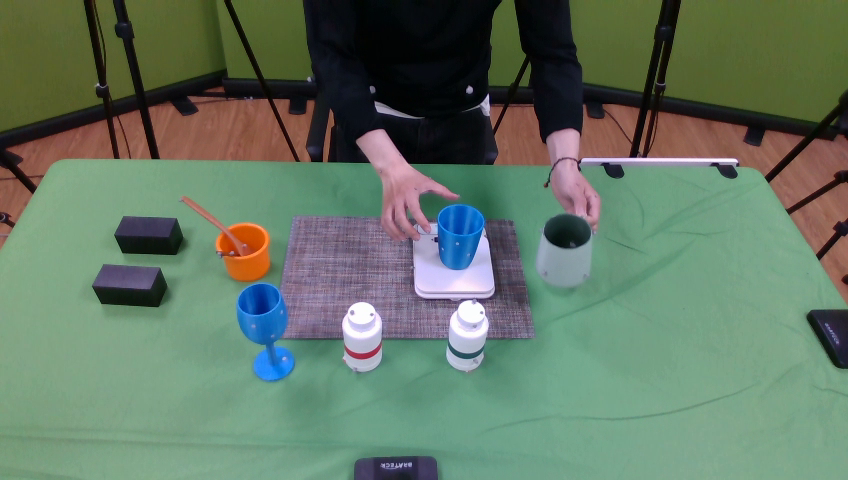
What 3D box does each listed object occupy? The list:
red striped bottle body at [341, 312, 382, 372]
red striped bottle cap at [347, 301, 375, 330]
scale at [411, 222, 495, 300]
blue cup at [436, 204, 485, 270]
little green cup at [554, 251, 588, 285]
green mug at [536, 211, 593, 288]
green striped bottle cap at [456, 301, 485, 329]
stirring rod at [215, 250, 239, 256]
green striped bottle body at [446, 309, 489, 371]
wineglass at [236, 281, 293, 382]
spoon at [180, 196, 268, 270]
[{"bbox_3d":[-0.100,0.154,0.972,0.063,0.120,0.062,2,46,-1],"label":"red striped bottle body"},{"bbox_3d":[-0.097,0.116,0.934,0.044,0.018,0.044,2,49,-2],"label":"red striped bottle cap"},{"bbox_3d":[0.052,0.031,1.158,0.149,0.032,0.199,1,46,-4],"label":"scale"},{"bbox_3d":[0.062,0.001,1.098,0.093,0.101,0.092,2,44,-1],"label":"blue cup"},{"bbox_3d":[0.277,0.055,1.151,0.061,0.039,0.061,1,46,-1],"label":"little green cup"},{"bbox_3d":[0.242,0.007,1.009,0.092,0.105,0.125,22,55,24],"label":"green mug"},{"bbox_3d":[0.073,0.116,0.943,0.044,0.020,0.044,2,46,-2],"label":"green striped bottle cap"},{"bbox_3d":[-0.339,0.024,1.059,0.014,0.176,0.006,17,86,-6],"label":"stirring rod"},{"bbox_3d":[0.070,0.155,0.984,0.063,0.120,0.063,2,46,-2],"label":"green striped bottle body"},{"bbox_3d":[-0.242,0.143,0.934,0.074,0.173,0.073,2,46,-2],"label":"wineglass"},{"bbox_3d":[-0.360,-0.014,1.094,0.021,0.194,0.041,-27,26,31],"label":"spoon"}]
